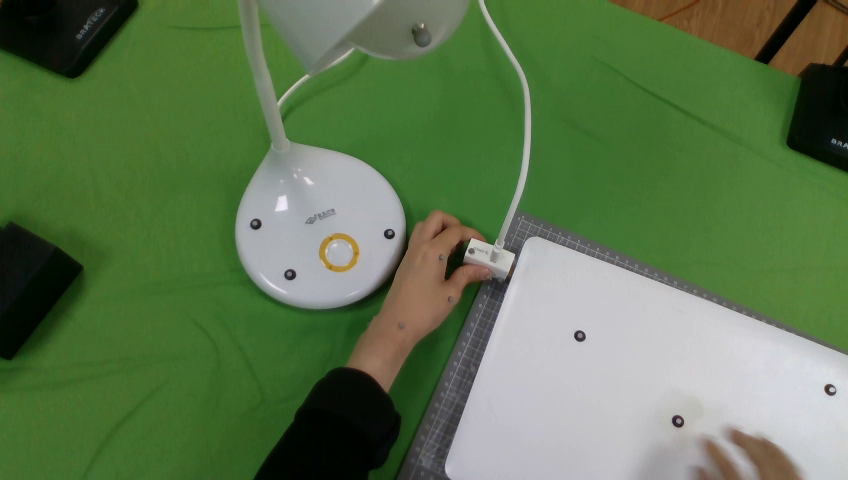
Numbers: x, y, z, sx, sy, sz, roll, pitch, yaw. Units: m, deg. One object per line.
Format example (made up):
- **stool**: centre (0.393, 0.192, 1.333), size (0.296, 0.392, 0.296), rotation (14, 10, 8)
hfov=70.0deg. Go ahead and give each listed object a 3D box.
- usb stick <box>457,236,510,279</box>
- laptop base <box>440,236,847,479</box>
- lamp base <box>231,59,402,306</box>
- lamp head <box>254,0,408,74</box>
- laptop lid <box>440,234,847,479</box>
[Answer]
- **usb stick**: centre (0.062, 0.019, 0.567), size (0.059, 0.027, 0.021), rotation (23, 65, 1)
- **laptop base**: centre (0.215, 0.158, 0.539), size (0.354, 0.023, 0.234), rotation (21, 72, 4)
- **lamp base**: centre (-0.104, -0.052, 0.508), size (0.160, 0.181, 0.178), rotation (-35, 72, -16)
- **lamp head**: centre (-0.039, -0.141, 0.222), size (0.112, 0.112, 0.123), rotation (-45, 101, -18)
- **laptop lid**: centre (0.215, 0.156, 0.527), size (0.356, 0.013, 0.240), rotation (23, 72, 4)
